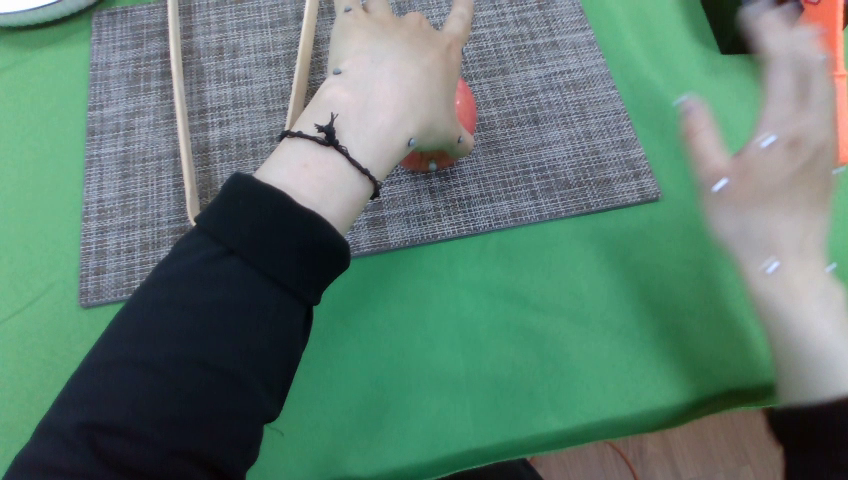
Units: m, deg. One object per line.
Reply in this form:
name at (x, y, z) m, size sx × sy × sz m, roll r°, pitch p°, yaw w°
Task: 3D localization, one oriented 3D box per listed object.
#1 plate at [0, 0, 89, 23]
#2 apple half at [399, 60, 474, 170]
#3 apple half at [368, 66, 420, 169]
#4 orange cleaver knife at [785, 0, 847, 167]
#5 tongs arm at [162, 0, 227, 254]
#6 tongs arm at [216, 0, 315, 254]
plate at (-0.375, -0.282, 0.581) m, size 0.209 × 0.038 × 0.207 m, roll 0°, pitch 64°, yaw 0°
apple half at (0.011, -0.097, 0.471) m, size 0.053 × 0.075 × 0.080 m, roll -11°, pitch 61°, yaw -8°
apple half at (-0.026, -0.088, 0.466) m, size 0.033 × 0.082 × 0.080 m, roll -11°, pitch 64°, yaw -8°
orange cleaver knife at (0.323, -0.166, 0.500) m, size 0.012 × 0.077 × 0.211 m, roll -6°, pitch 97°, yaw -3°
tongs arm at (-0.210, -0.159, 0.526) m, size 0.028 × 0.028 × 0.384 m, roll -11°, pitch 65°, yaw -10°
tongs arm at (-0.125, -0.167, 0.528) m, size 0.051 × 0.027 × 0.381 m, roll 0°, pitch 65°, yaw -1°
